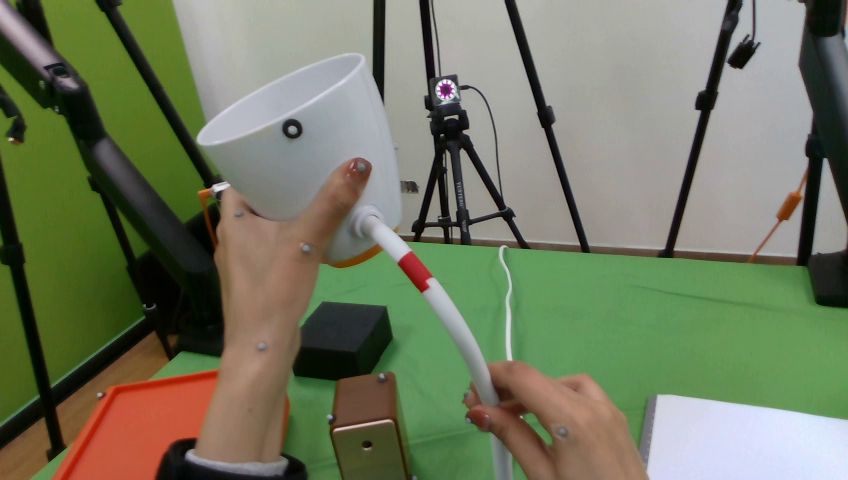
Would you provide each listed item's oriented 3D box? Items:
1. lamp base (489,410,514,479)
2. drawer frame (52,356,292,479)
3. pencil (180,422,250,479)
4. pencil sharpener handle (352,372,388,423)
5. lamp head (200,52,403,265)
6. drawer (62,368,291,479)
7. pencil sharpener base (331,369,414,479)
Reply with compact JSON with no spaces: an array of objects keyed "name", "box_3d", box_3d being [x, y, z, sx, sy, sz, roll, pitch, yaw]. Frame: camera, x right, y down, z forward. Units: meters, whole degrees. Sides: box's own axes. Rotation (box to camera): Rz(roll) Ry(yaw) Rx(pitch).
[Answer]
[{"name":"lamp base","box_3d":[0.063,0.219,0.405,0.161,0.181,0.177,-12,24,-3]},{"name":"drawer frame","box_3d":[-0.250,0.225,0.608,0.202,0.083,0.211,-10,25,-1]},{"name":"pencil","box_3d":[-0.245,0.244,0.580,0.012,0.012,0.194,18,49,43]},{"name":"pencil sharpener handle","box_3d":[-0.055,0.157,0.628,0.036,0.068,0.030,-5,26,-3]},{"name":"lamp head","box_3d":[-0.062,-0.043,0.391,0.112,0.124,0.111,-23,24,11]},{"name":"drawer","box_3d":[-0.247,0.228,0.607,0.194,0.074,0.210,-10,25,0]},{"name":"pencil sharpener base","box_3d":[-0.048,0.189,0.588,0.061,0.108,0.076,-10,26,0]}]
